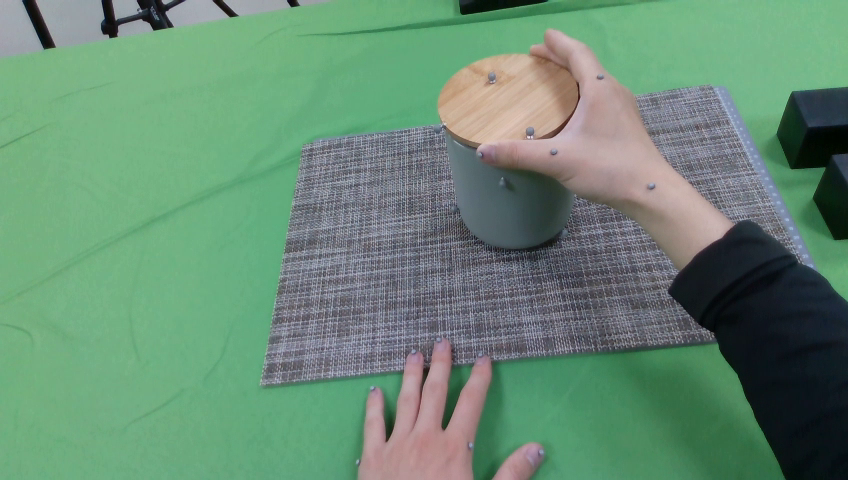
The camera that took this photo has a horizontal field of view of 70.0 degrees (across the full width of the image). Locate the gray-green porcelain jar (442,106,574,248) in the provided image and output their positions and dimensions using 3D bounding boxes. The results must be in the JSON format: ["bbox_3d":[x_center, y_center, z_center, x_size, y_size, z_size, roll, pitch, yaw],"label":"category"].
[{"bbox_3d":[0.075,-0.063,0.522,0.106,0.128,0.105,-6,50,7],"label":"gray-green porcelain jar"}]

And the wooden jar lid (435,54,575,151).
[{"bbox_3d":[0.063,-0.106,0.473,0.108,0.021,0.107,-6,53,8],"label":"wooden jar lid"}]
